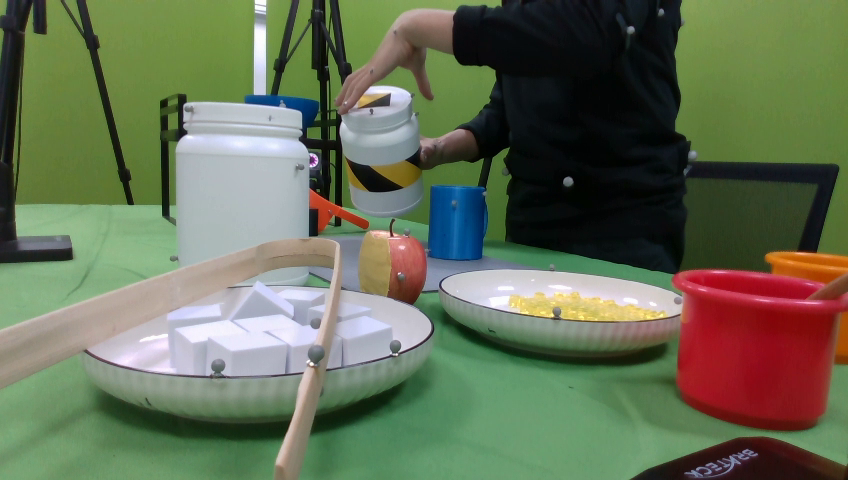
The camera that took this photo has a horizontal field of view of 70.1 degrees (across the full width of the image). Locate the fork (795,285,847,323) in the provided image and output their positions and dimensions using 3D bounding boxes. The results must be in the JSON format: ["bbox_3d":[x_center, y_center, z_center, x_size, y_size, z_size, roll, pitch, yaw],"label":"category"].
[{"bbox_3d":[0.332,0.018,0.443,0.028,0.018,0.207,-1,-36,-15],"label":"fork"}]

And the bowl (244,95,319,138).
[{"bbox_3d":[-0.293,-0.251,1.249,0.151,0.077,0.151,2,8,0],"label":"bowl"}]

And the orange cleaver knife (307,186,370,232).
[{"bbox_3d":[-0.196,-0.056,1.140,0.212,0.077,0.012,29,0,-34],"label":"orange cleaver knife"}]

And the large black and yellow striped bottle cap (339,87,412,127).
[{"bbox_3d":[-0.077,-0.213,0.955,0.115,0.019,0.115,-4,36,3],"label":"large black and yellow striped bottle cap"}]

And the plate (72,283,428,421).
[{"bbox_3d":[-0.102,0.066,0.381,0.208,0.039,0.207,2,7,0],"label":"plate"}]

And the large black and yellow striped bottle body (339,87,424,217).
[{"bbox_3d":[-0.070,-0.147,1.007,0.131,0.184,0.130,-3,37,3],"label":"large black and yellow striped bottle body"}]

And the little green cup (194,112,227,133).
[{"bbox_3d":[-0.412,-0.228,1.171,0.061,0.038,0.061,2,8,0],"label":"little green cup"}]

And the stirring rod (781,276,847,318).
[{"bbox_3d":[0.344,0.019,0.461,0.014,0.006,0.176,-13,-27,-30],"label":"stirring rod"}]

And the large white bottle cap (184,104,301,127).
[{"bbox_3d":[-0.184,-0.126,0.618,0.115,0.018,0.115,2,8,0],"label":"large white bottle cap"}]

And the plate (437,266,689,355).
[{"bbox_3d":[0.114,0.057,0.517,0.209,0.038,0.209,3,7,0],"label":"plate"}]

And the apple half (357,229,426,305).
[{"bbox_3d":[-0.026,0.028,0.570,0.053,0.074,0.080,3,2,-28],"label":"apple half"}]

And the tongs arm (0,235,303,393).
[{"bbox_3d":[-0.157,0.037,0.351,0.028,0.028,0.388,-3,8,12],"label":"tongs arm"}]

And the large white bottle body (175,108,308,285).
[{"bbox_3d":[-0.188,-0.042,0.630,0.131,0.184,0.130,2,8,0],"label":"large white bottle body"}]

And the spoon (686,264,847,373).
[{"bbox_3d":[0.214,0.032,0.328,0.042,0.021,0.193,-3,-35,-26],"label":"spoon"}]

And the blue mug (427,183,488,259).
[{"bbox_3d":[0.059,-0.031,0.907,0.082,0.106,0.117,9,9,42],"label":"blue mug"}]

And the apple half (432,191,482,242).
[{"bbox_3d":[0.048,-0.036,0.906,0.081,0.081,0.033,2,14,1],"label":"apple half"}]

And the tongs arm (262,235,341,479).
[{"bbox_3d":[-0.073,0.039,0.349,0.051,0.026,0.384,-1,9,-3],"label":"tongs arm"}]
